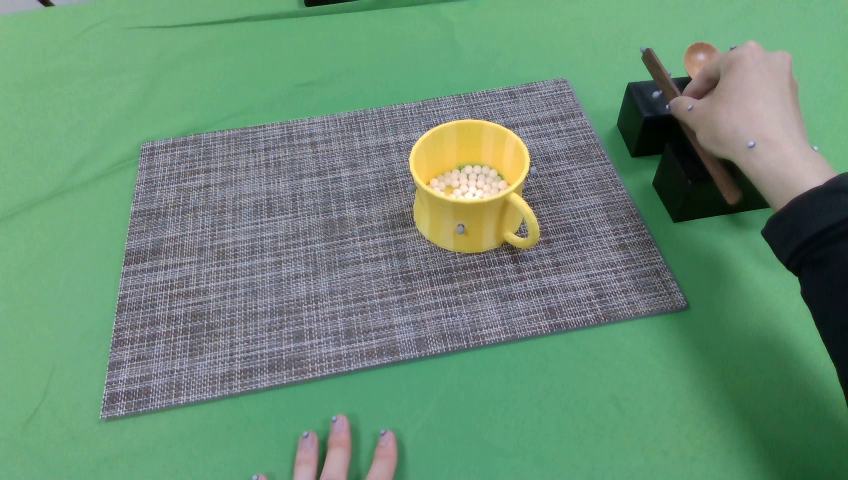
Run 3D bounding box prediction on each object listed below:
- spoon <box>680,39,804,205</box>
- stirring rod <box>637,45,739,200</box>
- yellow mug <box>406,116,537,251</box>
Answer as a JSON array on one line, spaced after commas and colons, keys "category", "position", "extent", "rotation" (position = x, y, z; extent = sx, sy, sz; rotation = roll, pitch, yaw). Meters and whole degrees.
[{"category": "spoon", "position": [0.275, -0.108, 0.526], "extent": [0.041, 0.022, 0.191], "rotation": [-10, 54, -5]}, {"category": "stirring rod", "position": [0.222, -0.106, 0.518], "extent": [0.006, 0.014, 0.174], "rotation": [-2, 57, -21]}, {"category": "yellow mug", "position": [0.047, -0.041, 0.514], "extent": [0.100, 0.064, 0.129], "rotation": [-36, 59, -23]}]
